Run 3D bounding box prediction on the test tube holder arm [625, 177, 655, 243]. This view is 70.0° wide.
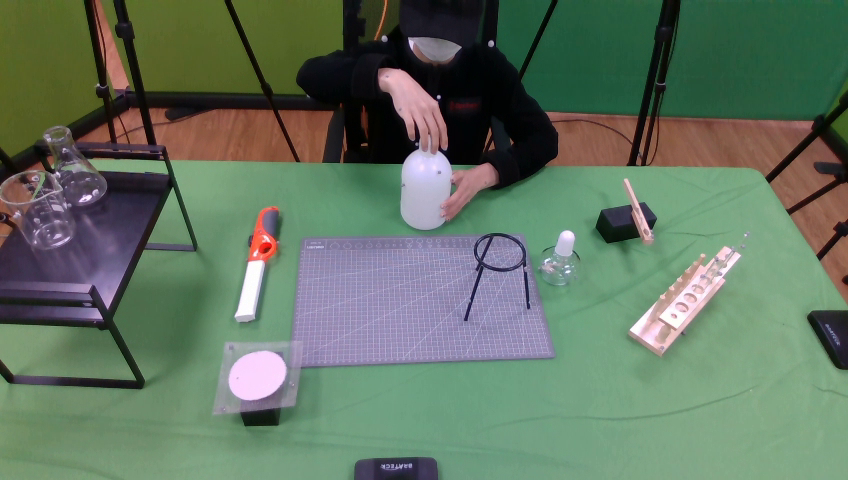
[{"bbox_3d":[0.433,-0.063,1.220,0.013,0.015,0.177,1,47,-3],"label":"test tube holder arm"}]

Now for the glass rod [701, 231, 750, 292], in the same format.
[{"bbox_3d":[0.519,0.045,1.050,0.008,0.201,0.008,0,55,0],"label":"glass rod"}]

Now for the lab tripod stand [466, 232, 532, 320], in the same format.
[{"bbox_3d":[0.125,0.059,1.065,0.148,0.132,0.147,1,45,0],"label":"lab tripod stand"}]

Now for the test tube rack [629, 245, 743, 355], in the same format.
[{"bbox_3d":[0.474,0.095,1.091,0.242,0.085,0.066,-34,56,-31],"label":"test tube rack"}]

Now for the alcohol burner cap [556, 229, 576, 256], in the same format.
[{"bbox_3d":[0.260,0.002,1.098,0.034,0.048,0.033,3,40,-2],"label":"alcohol burner cap"}]

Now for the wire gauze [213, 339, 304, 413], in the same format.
[{"bbox_3d":[-0.250,0.203,0.925,0.121,0.011,0.124,-1,46,-3],"label":"wire gauze"}]

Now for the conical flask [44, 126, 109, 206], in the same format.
[{"bbox_3d":[-0.554,-0.119,0.953,0.075,0.122,0.075,2,46,-2],"label":"conical flask"}]

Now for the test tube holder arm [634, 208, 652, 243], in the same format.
[{"bbox_3d":[0.428,-0.030,1.189,0.010,0.015,0.087,2,47,-2],"label":"test tube holder arm"}]

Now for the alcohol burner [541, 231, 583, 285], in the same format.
[{"bbox_3d":[0.258,0.028,1.123,0.078,0.120,0.077,1,48,-1],"label":"alcohol burner"}]

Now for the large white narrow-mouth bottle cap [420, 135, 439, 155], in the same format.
[{"bbox_3d":[0.011,-0.178,1.128,0.038,0.024,0.037,2,46,-2],"label":"large white narrow-mouth bottle cap"}]

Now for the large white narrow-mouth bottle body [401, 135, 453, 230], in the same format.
[{"bbox_3d":[0.006,-0.119,1.191,0.102,0.195,0.101,2,46,-2],"label":"large white narrow-mouth bottle body"}]

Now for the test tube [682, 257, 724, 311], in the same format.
[{"bbox_3d":[0.475,0.080,1.037,0.017,0.151,0.017,2,51,-2],"label":"test tube"}]

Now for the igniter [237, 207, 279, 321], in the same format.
[{"bbox_3d":[-0.309,0.036,1.136,0.057,0.025,0.274,-7,45,5],"label":"igniter"}]

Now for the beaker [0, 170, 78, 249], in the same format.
[{"bbox_3d":[-0.562,-0.042,0.894,0.084,0.101,0.073,-2,47,-7],"label":"beaker"}]
